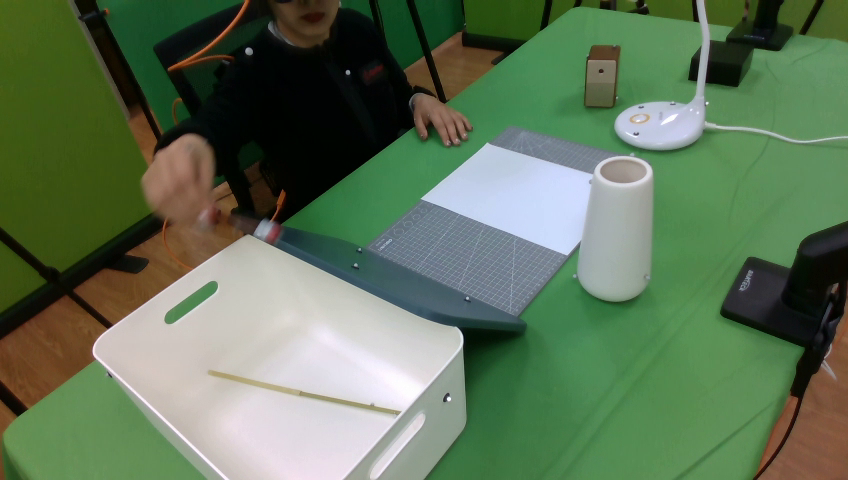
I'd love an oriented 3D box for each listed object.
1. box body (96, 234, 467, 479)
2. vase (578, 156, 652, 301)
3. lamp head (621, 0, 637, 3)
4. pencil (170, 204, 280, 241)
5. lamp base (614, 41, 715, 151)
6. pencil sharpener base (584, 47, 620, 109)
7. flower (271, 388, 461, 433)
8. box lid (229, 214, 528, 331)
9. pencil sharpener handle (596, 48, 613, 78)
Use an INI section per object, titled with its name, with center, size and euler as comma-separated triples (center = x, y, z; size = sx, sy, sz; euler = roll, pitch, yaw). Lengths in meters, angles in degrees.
[box body]
center = -0.155, 0.169, 0.707
size = 0.361, 0.161, 0.255
euler = 23, 49, 33
[vase]
center = 0.261, -0.011, 0.812
size = 0.098, 0.201, 0.097
euler = -4, 40, 4
[lamp head]
center = 0.319, -0.453, 0.962
size = 0.113, 0.123, 0.112
euler = 20, 33, -13
[pencil]
center = -0.227, -0.023, 0.673
size = 0.192, 0.012, 0.012
euler = 15, 45, 34
[lamp base]
center = 0.449, -0.277, 1.106
size = 0.179, 0.181, 0.160
euler = 1, 41, 9
[pencil sharpener base]
center = 0.367, -0.336, 1.248
size = 0.061, 0.107, 0.076
euler = 6, 42, 19
[flower]
center = -0.122, 0.202, 0.770
size = 0.360, 0.038, 0.044
euler = 2, 77, 22
[box lid]
center = -0.062, 0.044, 0.813
size = 0.368, 0.265, 0.015
euler = 22, 93, 32
[pencil sharpener handle]
center = 0.383, -0.378, 1.276
size = 0.036, 0.068, 0.030
euler = 2, 41, 22
